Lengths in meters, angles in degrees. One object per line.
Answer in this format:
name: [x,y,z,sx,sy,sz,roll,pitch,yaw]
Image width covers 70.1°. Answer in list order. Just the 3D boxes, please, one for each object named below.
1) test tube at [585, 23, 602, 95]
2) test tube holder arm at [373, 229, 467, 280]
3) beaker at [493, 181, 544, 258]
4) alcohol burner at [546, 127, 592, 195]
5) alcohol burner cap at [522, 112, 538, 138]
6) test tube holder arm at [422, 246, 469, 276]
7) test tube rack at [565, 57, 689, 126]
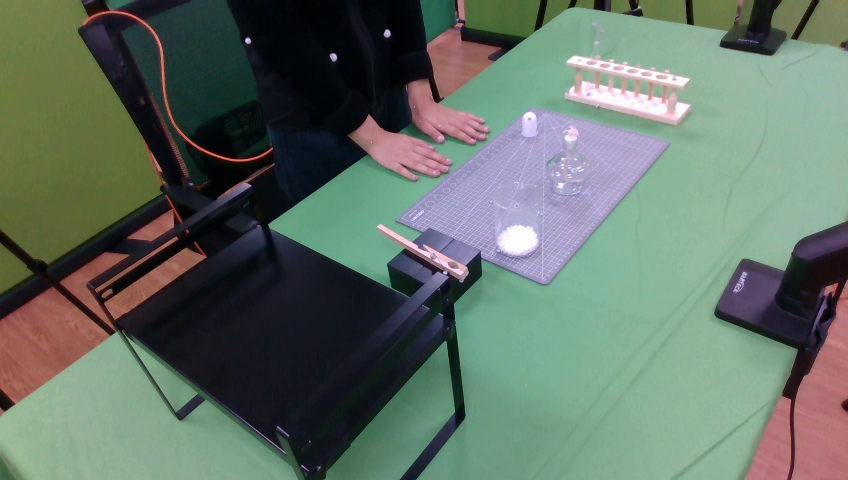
test tube: [0.342,-0.364,1.226,0.017,0.151,0.017,-2,42,2]
test tube holder arm: [-0.010,0.019,0.885,0.177,0.015,0.013,23,48,33]
beaker: [0.145,-0.030,0.925,0.074,0.101,0.084,6,41,16]
alcohol burner: [0.246,-0.137,1.024,0.078,0.119,0.077,-4,38,4]
alcohol burner cap: [0.210,-0.230,1.195,0.034,0.048,0.033,-5,41,5]
test tube holder arm: [0.028,0.031,0.864,0.087,0.015,0.010,25,49,34]
test tube rack: [0.412,-0.311,1.230,0.240,0.085,0.067,23,49,32]
